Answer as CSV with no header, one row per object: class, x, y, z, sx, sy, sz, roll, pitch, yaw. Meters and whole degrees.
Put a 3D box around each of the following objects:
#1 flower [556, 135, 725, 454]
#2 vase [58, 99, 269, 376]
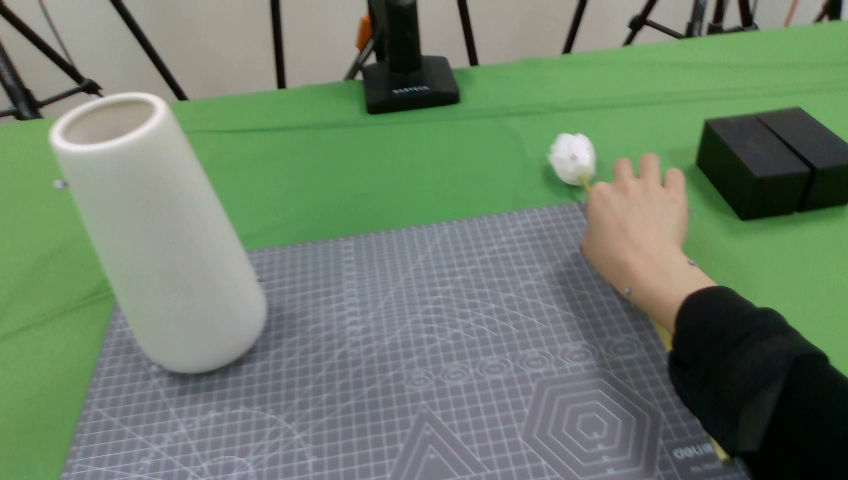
flower,0.171,0.016,0.510,0.044,0.038,0.358,-28,37,17
vase,-0.176,0.005,0.430,0.098,0.202,0.097,-2,39,2
